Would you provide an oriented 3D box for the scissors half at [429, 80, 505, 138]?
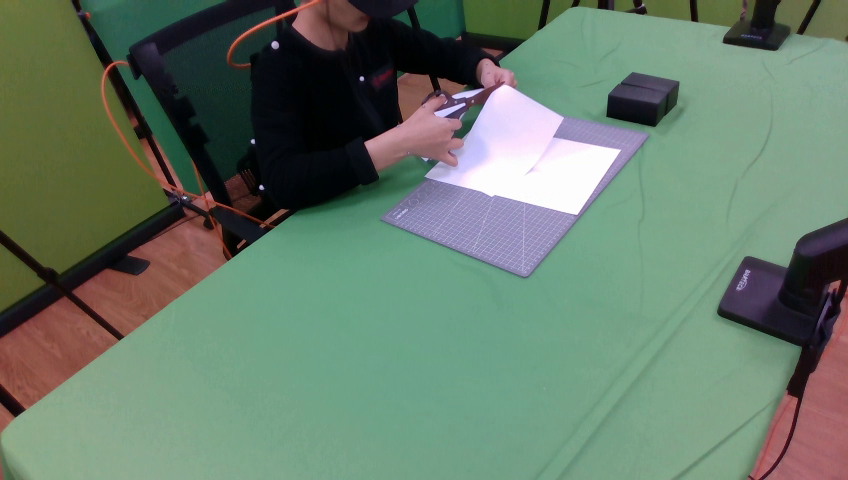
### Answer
[{"bbox_3d":[0.084,-0.248,1.135,0.175,0.040,0.012,-39,28,-3],"label":"scissors half"}]

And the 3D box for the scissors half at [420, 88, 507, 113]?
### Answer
[{"bbox_3d":[0.076,-0.267,1.125,0.176,0.040,0.012,-12,28,-17],"label":"scissors half"}]
